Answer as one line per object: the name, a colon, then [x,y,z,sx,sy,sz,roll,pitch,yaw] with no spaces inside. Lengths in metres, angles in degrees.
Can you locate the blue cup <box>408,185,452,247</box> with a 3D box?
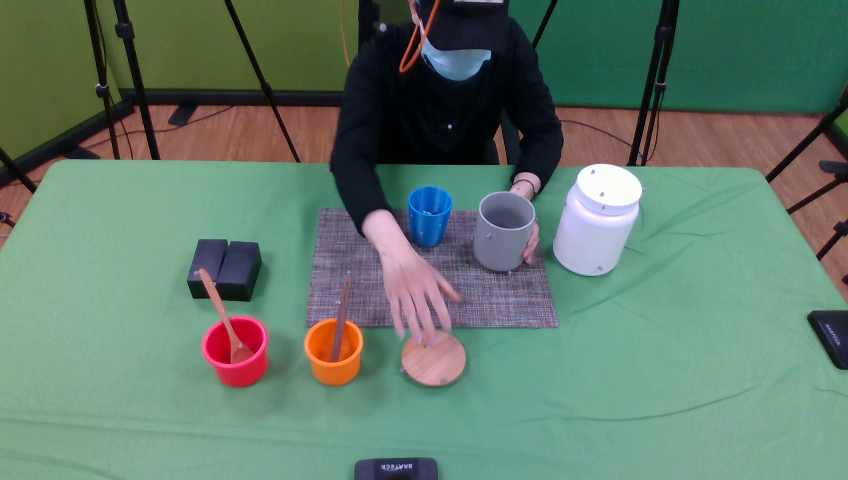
blue cup: [0.008,-0.041,1.176,0.093,0.101,0.092,3,46,-3]

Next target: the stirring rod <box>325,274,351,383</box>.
stirring rod: [-0.137,0.142,0.971,0.014,0.006,0.176,10,89,1]

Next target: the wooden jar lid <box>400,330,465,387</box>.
wooden jar lid: [0.014,0.199,1.008,0.108,0.021,0.107,2,47,-2]

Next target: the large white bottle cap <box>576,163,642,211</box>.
large white bottle cap: [0.330,-0.096,1.080,0.115,0.018,0.114,2,46,-2]

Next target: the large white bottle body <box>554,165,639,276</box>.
large white bottle body: [0.326,-0.037,1.141,0.131,0.185,0.130,2,46,-2]

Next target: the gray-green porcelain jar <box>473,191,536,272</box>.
gray-green porcelain jar: [0.148,-0.012,1.140,0.106,0.127,0.105,2,46,-2]

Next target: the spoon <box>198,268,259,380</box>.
spoon: [-0.313,0.133,0.962,0.041,0.021,0.194,-24,96,-19]
